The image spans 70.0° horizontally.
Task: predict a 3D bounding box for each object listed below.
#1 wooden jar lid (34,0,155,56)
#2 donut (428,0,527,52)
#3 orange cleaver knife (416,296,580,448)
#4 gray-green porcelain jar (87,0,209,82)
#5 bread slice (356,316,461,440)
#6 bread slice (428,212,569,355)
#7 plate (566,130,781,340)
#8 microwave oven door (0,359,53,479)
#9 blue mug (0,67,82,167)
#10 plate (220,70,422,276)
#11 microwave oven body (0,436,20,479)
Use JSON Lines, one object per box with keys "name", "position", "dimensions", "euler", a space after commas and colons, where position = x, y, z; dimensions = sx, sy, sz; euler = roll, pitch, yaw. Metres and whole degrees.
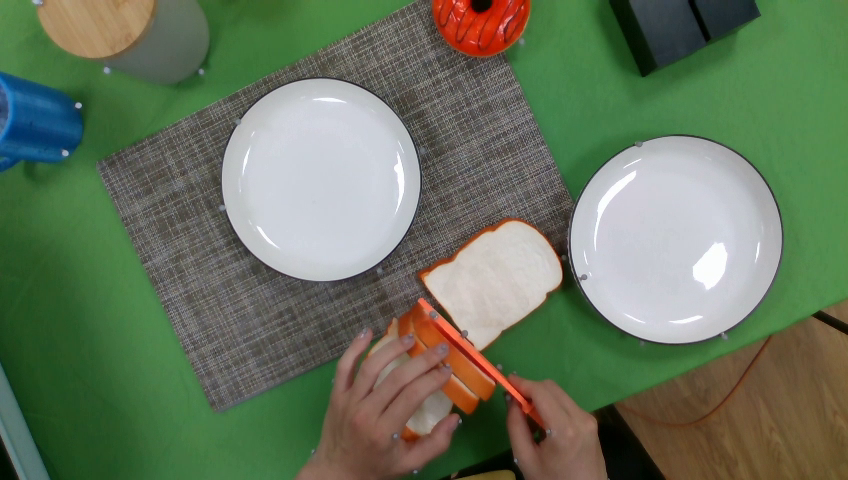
{"name": "wooden jar lid", "position": [-0.284, -0.214, 0.528], "dimensions": [0.108, 0.021, 0.108], "euler": [0, 92, 5]}
{"name": "donut", "position": [0.054, -0.238, 0.605], "dimensions": [0.099, 0.048, 0.099], "euler": [0, 94, 3]}
{"name": "orange cleaver knife", "position": [0.071, 0.125, 0.573], "dimensions": [0.213, 0.076, 0.012], "euler": [44, 85, -20]}
{"name": "gray-green porcelain jar", "position": [-0.279, -0.216, 0.590], "dimensions": [0.106, 0.126, 0.106], "euler": [0, 93, 4]}
{"name": "bread slice", "position": [-0.018, 0.136, 0.596], "dimensions": [0.105, 0.131, 0.019], "euler": [44, 111, 0]}
{"name": "bread slice", "position": [0.084, 0.033, 0.585], "dimensions": [0.134, 0.018, 0.107], "euler": [-34, 86, -34]}
{"name": "plate", "position": [0.247, -0.005, 0.614], "dimensions": [0.209, 0.038, 0.209], "euler": [0, 94, 4]}
{"name": "microwave oven door", "position": [-0.459, 0.212, 0.551], "dimensions": [0.039, 0.244, 0.356], "euler": [-22, 91, 5]}
{"name": "blue mug", "position": [-0.429, -0.116, 0.616], "dimensions": [0.082, 0.106, 0.116], "euler": [39, 95, 1]}
{"name": "plate", "position": [-0.105, -0.067, 0.629], "dimensions": [0.207, 0.039, 0.207], "euler": [0, 94, 4]}
{"name": "microwave oven body", "position": [-0.610, 0.227, 0.566], "dimensions": [0.326, 0.260, 0.442], "euler": [-22, 92, 4]}
